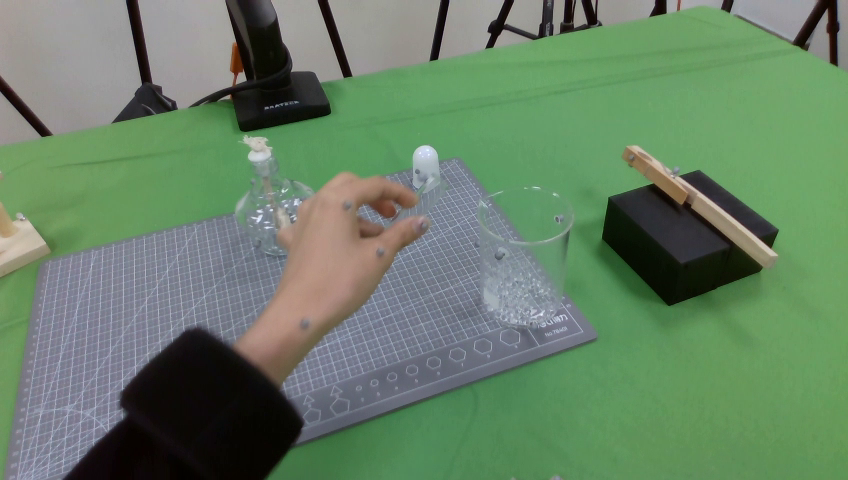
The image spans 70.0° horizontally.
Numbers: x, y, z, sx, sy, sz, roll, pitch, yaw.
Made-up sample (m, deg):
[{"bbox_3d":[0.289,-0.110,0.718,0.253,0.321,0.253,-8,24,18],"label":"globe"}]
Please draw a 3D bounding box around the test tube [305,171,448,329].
[{"bbox_3d":[-0.036,0.010,0.430,0.150,0.017,0.017,-48,42,16],"label":"test tube"}]

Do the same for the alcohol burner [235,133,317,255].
[{"bbox_3d":[-0.143,-0.045,0.571,0.078,0.120,0.077,-4,40,3],"label":"alcohol burner"}]

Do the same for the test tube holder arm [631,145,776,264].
[{"bbox_3d":[0.238,-0.037,0.535,0.013,0.015,0.176,-12,41,-22],"label":"test tube holder arm"}]

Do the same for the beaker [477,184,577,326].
[{"bbox_3d":[0.079,0.014,0.497,0.083,0.101,0.074,27,50,32],"label":"beaker"}]

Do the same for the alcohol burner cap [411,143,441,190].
[{"bbox_3d":[0.000,-0.082,0.657,0.034,0.048,0.033,-2,41,2],"label":"alcohol burner cap"}]

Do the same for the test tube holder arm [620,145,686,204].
[{"bbox_3d":[0.214,-0.062,0.564,0.010,0.015,0.087,-12,41,-22],"label":"test tube holder arm"}]

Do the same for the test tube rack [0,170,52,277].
[{"bbox_3d":[-0.488,0.024,0.545,0.242,0.086,0.066,-34,49,-30],"label":"test tube rack"}]
